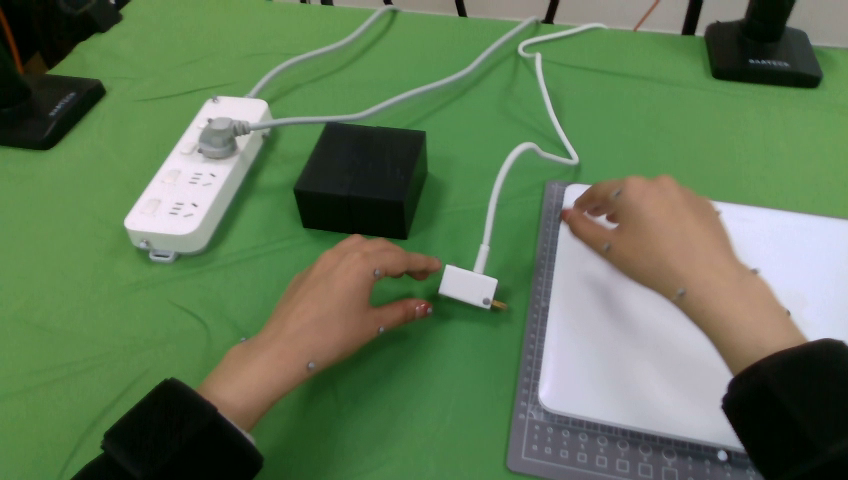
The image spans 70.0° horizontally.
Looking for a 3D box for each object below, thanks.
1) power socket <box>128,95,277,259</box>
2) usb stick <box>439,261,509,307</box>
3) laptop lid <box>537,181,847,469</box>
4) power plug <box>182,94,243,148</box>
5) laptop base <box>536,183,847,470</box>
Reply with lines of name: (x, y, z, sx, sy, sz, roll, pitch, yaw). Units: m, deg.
power socket: (-0.215, -0.075, 0.609, 0.072, 0.033, 0.225, 8, 48, 7)
usb stick: (0.044, 0.038, 0.499, 0.059, 0.021, 0.027, 20, 91, 6)
laptop lid: (0.276, 0.057, 0.468, 0.356, 0.013, 0.240, 11, 51, 11)
power plug: (-0.202, -0.121, 0.582, 0.053, 0.073, 0.035, 20, 31, -13)
laptop base: (0.277, 0.064, 0.478, 0.353, 0.023, 0.233, 9, 52, 10)
